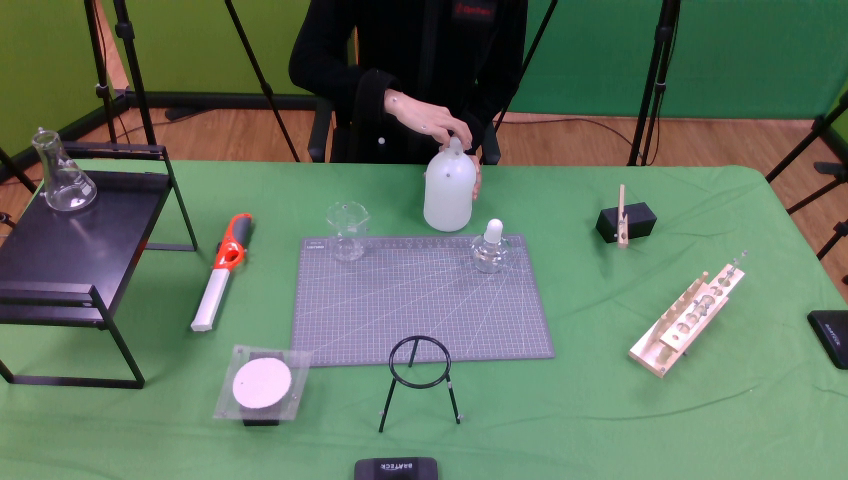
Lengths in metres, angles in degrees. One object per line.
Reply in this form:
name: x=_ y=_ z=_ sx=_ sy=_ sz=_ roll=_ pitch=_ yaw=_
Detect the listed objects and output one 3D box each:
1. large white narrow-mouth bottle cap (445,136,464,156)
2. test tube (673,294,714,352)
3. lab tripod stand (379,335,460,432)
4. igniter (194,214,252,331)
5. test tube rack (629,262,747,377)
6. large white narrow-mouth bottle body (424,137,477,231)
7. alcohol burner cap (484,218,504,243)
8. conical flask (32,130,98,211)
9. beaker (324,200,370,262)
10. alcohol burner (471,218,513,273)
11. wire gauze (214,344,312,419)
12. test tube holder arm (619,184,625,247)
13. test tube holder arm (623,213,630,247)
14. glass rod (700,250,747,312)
large white narrow-mouth bottle cap: x=0.057 y=-0.174 z=1.128 sx=0.038 sy=0.024 sz=0.037 roll=2 pitch=46 yaw=-2
test tube: x=0.428 y=0.137 z=0.978 sx=0.017 sy=0.151 sz=0.017 roll=4 pitch=47 yaw=-4
lab tripod stand: x=-0.011 y=0.214 z=0.912 sx=0.148 sy=0.132 sz=0.147 roll=1 pitch=45 yaw=0
igniter: x=-0.367 y=0.050 z=1.119 sx=0.057 sy=0.025 sz=0.275 roll=-4 pitch=45 yaw=7
test tube rack: x=0.464 y=0.126 z=1.060 sx=0.242 sy=0.085 sz=0.066 roll=-34 pitch=56 yaw=-31
large white narrow-mouth bottle body: x=0.054 y=-0.115 z=1.191 sx=0.102 sy=0.195 sz=0.101 roll=2 pitch=46 yaw=-2
alcohol burner cap: x=0.130 y=-0.021 z=1.106 sx=0.034 sy=0.048 sz=0.033 roll=3 pitch=50 yaw=-4
conical flask: x=-0.565 y=-0.111 z=0.944 sx=0.075 sy=0.122 sz=0.075 roll=2 pitch=46 yaw=-2
beaker: x=-0.143 y=-0.015 z=1.142 sx=0.084 sy=0.101 sz=0.073 roll=1 pitch=46 yaw=-4
alcohol burner: x=0.128 y=0.005 z=1.132 sx=0.078 sy=0.120 sz=0.077 roll=0 pitch=47 yaw=0
wire gauze: x=-0.241 y=0.213 z=0.916 sx=0.121 sy=0.011 sz=0.124 roll=5 pitch=46 yaw=1
test tube holder arm: x=0.396 y=-0.052 z=1.210 sx=0.013 sy=0.015 sz=0.177 roll=14 pitch=46 yaw=3
test tube holder arm: x=0.393 y=-0.020 z=1.179 sx=0.010 sy=0.015 sz=0.087 roll=13 pitch=46 yaw=2
glass rod: x=0.500 y=0.075 z=1.021 sx=0.008 sy=0.201 sz=0.008 roll=0 pitch=55 yaw=1
